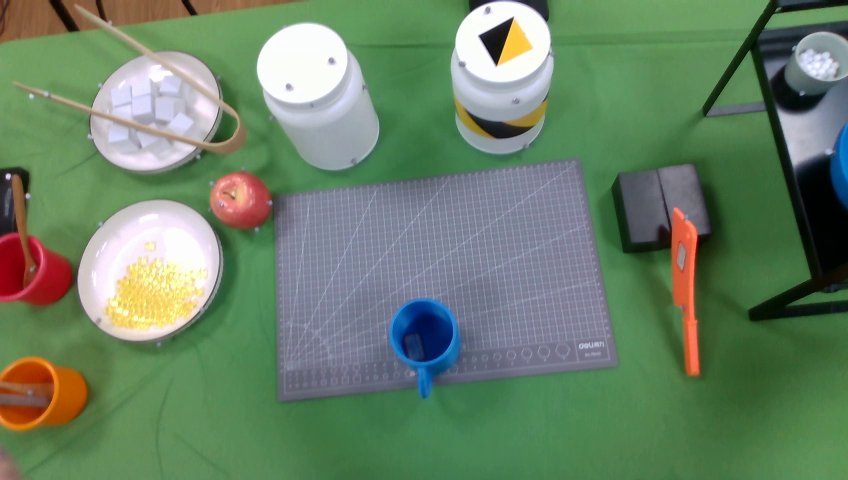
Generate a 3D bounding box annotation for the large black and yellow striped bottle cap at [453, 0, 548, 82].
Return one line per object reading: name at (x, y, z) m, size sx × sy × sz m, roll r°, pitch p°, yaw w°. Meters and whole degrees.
large black and yellow striped bottle cap at (0.092, -0.246, 0.733) m, size 0.115 × 0.019 × 0.114 m, roll -1°, pitch 75°, yaw 4°

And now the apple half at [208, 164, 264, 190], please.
apple half at (-0.270, -0.087, 0.865) m, size 0.081 × 0.081 × 0.032 m, roll -21°, pitch 78°, yaw -1°

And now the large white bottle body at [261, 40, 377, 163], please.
large white bottle body at (-0.142, -0.199, 0.828) m, size 0.130 × 0.186 × 0.130 m, roll -1°, pitch 73°, yaw 5°

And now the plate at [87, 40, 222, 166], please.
plate at (-0.408, -0.207, 0.931) m, size 0.207 × 0.039 × 0.206 m, roll -1°, pitch 74°, yaw 5°

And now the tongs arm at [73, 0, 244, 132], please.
tongs arm at (-0.408, -0.275, 0.919) m, size 0.385 × 0.028 × 0.028 m, roll 35°, pitch 73°, yaw 16°

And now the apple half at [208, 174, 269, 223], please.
apple half at (-0.256, -0.052, 0.855) m, size 0.081 × 0.075 × 0.053 m, roll -20°, pitch 77°, yaw -4°

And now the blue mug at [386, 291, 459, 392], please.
blue mug at (0.000, 0.131, 0.759) m, size 0.082 × 0.106 × 0.116 m, roll 1°, pitch 74°, yaw 6°

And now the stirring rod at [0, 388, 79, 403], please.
stirring rod at (-0.540, 0.195, 0.770) m, size 0.177 × 0.006 × 0.014 m, roll 14°, pitch 58°, yaw -33°

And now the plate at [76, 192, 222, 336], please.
plate at (-0.384, 0.034, 0.859) m, size 0.209 × 0.038 × 0.208 m, roll -1°, pitch 74°, yaw 5°

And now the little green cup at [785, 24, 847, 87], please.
little green cup at (0.431, -0.201, 0.665) m, size 0.061 × 0.039 × 0.061 m, roll -2°, pitch 74°, yaw 6°

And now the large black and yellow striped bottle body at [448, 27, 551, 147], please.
large black and yellow striped bottle body at (0.101, -0.220, 0.813) m, size 0.130 × 0.185 × 0.130 m, roll -2°, pitch 73°, yaw 5°

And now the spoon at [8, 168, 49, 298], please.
spoon at (-0.546, -0.006, 0.830) m, size 0.041 × 0.021 × 0.195 m, roll 13°, pitch 120°, yaw 10°

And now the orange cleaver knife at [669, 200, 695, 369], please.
orange cleaver knife at (0.324, 0.057, 0.764) m, size 0.012 × 0.077 × 0.212 m, roll -7°, pitch 104°, yaw 3°

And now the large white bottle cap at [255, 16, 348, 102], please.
large white bottle cap at (-0.152, -0.224, 0.747) m, size 0.115 × 0.018 × 0.114 m, roll -2°, pitch 73°, yaw 5°

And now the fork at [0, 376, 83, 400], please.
fork at (-0.550, 0.176, 0.774) m, size 0.209 × 0.018 × 0.028 m, roll 23°, pitch 70°, yaw -34°

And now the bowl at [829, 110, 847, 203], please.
bowl at (0.472, -0.072, 0.605) m, size 0.151 × 0.077 × 0.150 m, roll -1°, pitch 74°, yaw 5°

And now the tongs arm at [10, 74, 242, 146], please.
tongs arm at (-0.448, -0.204, 0.900) m, size 0.383 × 0.027 × 0.050 m, roll 21°, pitch 73°, yaw 13°
